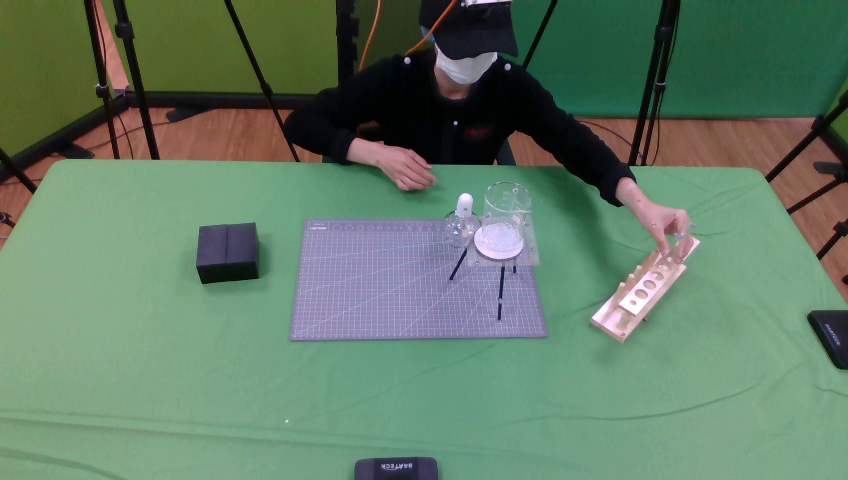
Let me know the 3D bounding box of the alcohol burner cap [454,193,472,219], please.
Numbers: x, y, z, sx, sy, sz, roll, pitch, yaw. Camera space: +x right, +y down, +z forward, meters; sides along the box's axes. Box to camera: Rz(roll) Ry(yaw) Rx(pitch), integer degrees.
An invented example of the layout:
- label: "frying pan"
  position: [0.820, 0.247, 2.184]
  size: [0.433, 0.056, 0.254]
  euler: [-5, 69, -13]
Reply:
- label: "alcohol burner cap"
  position: [0.076, -0.068, 1.151]
  size: [0.034, 0.048, 0.033]
  euler: [4, 46, -4]

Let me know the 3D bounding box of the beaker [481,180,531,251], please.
- label: "beaker"
  position: [0.135, -0.036, 1.001]
  size: [0.083, 0.101, 0.074]
  euler: [30, 53, 24]

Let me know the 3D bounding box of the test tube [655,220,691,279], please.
- label: "test tube"
  position: [0.431, 0.023, 1.054]
  size: [0.017, 0.151, 0.017]
  euler: [2, 45, -2]

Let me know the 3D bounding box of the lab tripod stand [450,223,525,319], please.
- label: "lab tripod stand"
  position: [0.120, 0.046, 1.080]
  size: [0.148, 0.132, 0.147]
  euler: [1, 47, -1]

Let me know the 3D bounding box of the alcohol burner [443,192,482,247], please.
- label: "alcohol burner"
  position: [0.075, -0.044, 1.177]
  size: [0.078, 0.120, 0.077]
  euler: [1, 44, -1]

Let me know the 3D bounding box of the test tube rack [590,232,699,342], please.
- label: "test tube rack"
  position: [0.407, 0.074, 1.111]
  size: [0.066, 0.085, 0.242]
  euler: [35, 54, 26]

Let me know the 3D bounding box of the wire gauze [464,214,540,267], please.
- label: "wire gauze"
  position: [0.131, -0.001, 1.035]
  size: [0.121, 0.011, 0.124]
  euler: [1, 44, -3]
